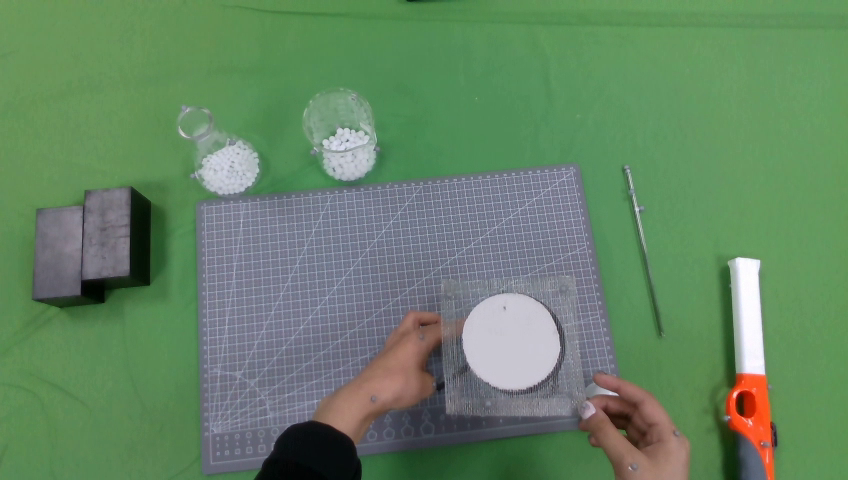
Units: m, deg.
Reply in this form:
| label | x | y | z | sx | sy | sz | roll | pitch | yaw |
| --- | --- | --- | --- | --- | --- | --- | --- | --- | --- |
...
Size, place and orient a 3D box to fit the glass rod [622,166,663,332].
| label | x | y | z | sx | sy | sz | roll | pitch | yaw |
| --- | --- | --- | --- | --- | --- | --- | --- | --- | --- |
| glass rod | 0.251 | 0.007 | 0.696 | 0.008 | 0.008 | 0.198 | -7 | 75 | -3 |

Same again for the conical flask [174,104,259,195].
| label | x | y | z | sx | sy | sz | roll | pitch | yaw |
| --- | --- | --- | --- | --- | --- | --- | --- | --- | --- |
| conical flask | -0.229 | -0.102 | 0.656 | 0.075 | 0.122 | 0.075 | 0 | 75 | -1 |

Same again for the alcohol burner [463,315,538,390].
| label | x | y | z | sx | sy | sz | roll | pitch | yaw |
| --- | --- | --- | --- | --- | --- | --- | --- | --- | --- |
| alcohol burner | 0.078 | 0.112 | 0.610 | 0.078 | 0.119 | 0.077 | 0 | 76 | 1 |

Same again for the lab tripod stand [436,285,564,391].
| label | x | y | z | sx | sy | sz | roll | pitch | yaw |
| --- | --- | --- | --- | --- | --- | --- | --- | --- | --- |
| lab tripod stand | 0.077 | 0.108 | 0.600 | 0.148 | 0.132 | 0.147 | 0 | 77 | 0 |

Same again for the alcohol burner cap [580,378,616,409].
| label | x | y | z | sx | sy | sz | roll | pitch | yaw |
| --- | --- | --- | --- | --- | --- | --- | --- | --- | --- |
| alcohol burner cap | 0.186 | 0.161 | 0.636 | 0.034 | 0.048 | 0.033 | 0 | 75 | 0 |

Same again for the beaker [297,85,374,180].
| label | x | y | z | sx | sy | sz | roll | pitch | yaw |
| --- | --- | --- | --- | --- | --- | --- | --- | --- | --- |
| beaker | -0.091 | -0.114 | 0.674 | 0.084 | 0.100 | 0.074 | 29 | 77 | 6 |

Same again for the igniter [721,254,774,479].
| label | x | y | z | sx | sy | sz | roll | pitch | yaw |
| --- | --- | --- | --- | --- | --- | --- | --- | --- | --- |
| igniter | 0.347 | 0.151 | 0.653 | 0.057 | 0.025 | 0.275 | 7 | 75 | -10 |

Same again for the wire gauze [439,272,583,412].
| label | x | y | z | sx | sy | sz | roll | pitch | yaw |
| --- | --- | --- | --- | --- | --- | --- | --- | --- | --- |
| wire gauze | 0.076 | 0.089 | 0.535 | 0.125 | 0.011 | 0.121 | -1 | 77 | 0 |
